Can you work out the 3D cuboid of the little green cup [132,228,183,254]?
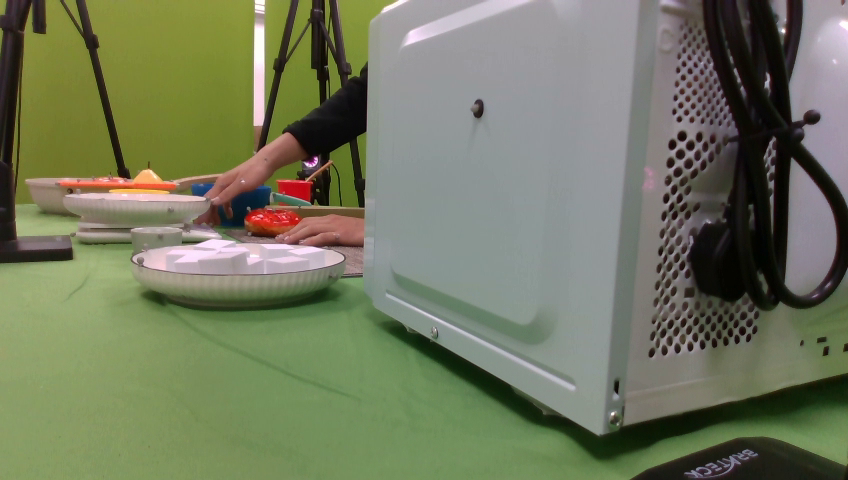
[{"bbox_3d":[-0.342,0.006,0.779,0.061,0.038,0.061,2,8,0],"label":"little green cup"}]

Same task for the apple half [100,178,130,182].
[{"bbox_3d":[-0.638,-0.093,1.266,0.053,0.074,0.081,7,5,10],"label":"apple half"}]

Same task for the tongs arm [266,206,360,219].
[{"bbox_3d":[-0.173,-0.061,1.362,0.387,0.026,0.050,-1,4,-31],"label":"tongs arm"}]

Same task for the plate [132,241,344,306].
[{"bbox_3d":[-0.187,0.033,0.625,0.208,0.039,0.207,2,7,0],"label":"plate"}]

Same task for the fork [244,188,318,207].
[{"bbox_3d":[-0.356,-0.105,1.526,0.208,0.018,0.028,16,-5,-41],"label":"fork"}]

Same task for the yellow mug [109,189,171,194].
[{"bbox_3d":[-0.519,-0.055,1.081,0.099,0.064,0.131,7,10,26],"label":"yellow mug"}]

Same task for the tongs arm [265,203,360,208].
[{"bbox_3d":[-0.210,-0.070,1.439,0.389,0.027,0.028,1,0,-17],"label":"tongs arm"}]

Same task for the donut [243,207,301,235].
[{"bbox_3d":[-0.262,-0.032,1.043,0.099,0.048,0.099,5,9,0],"label":"donut"}]

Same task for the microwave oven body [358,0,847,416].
[{"bbox_3d":[0.211,-0.047,0.474,0.444,0.260,0.324,-1,7,-28],"label":"microwave oven body"}]

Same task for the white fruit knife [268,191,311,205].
[{"bbox_3d":[-0.364,-0.105,1.464,0.208,0.027,0.016,15,0,-34],"label":"white fruit knife"}]

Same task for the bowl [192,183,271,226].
[{"bbox_3d":[-0.382,-0.070,1.202,0.151,0.077,0.151,3,7,0],"label":"bowl"}]

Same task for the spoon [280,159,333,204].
[{"bbox_3d":[-0.317,-0.159,1.640,0.194,0.022,0.041,-49,32,-20],"label":"spoon"}]

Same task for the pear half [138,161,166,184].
[{"bbox_3d":[-0.602,-0.120,1.354,0.056,0.110,0.076,4,11,5],"label":"pear half"}]

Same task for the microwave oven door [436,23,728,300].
[{"bbox_3d":[0.180,-0.072,0.621,0.358,0.243,0.039,-2,9,-29],"label":"microwave oven door"}]

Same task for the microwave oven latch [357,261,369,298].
[{"bbox_3d":[-0.019,0.033,0.530,0.079,0.029,0.030,-1,7,-26],"label":"microwave oven latch"}]

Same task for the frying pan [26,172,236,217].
[{"bbox_3d":[-0.624,-0.118,1.387,0.305,0.102,0.490,8,17,32],"label":"frying pan"}]

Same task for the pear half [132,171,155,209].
[{"bbox_3d":[-0.636,-0.113,1.362,0.031,0.088,0.070,3,13,1],"label":"pear half"}]

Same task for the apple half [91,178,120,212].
[{"bbox_3d":[-0.677,-0.096,1.271,0.033,0.081,0.081,7,8,10],"label":"apple half"}]

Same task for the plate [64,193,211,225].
[{"bbox_3d":[-0.446,-0.050,0.952,0.209,0.038,0.209,2,7,0],"label":"plate"}]

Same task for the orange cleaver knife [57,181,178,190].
[{"bbox_3d":[-0.600,-0.109,1.189,0.212,0.012,0.077,-1,11,-26],"label":"orange cleaver knife"}]

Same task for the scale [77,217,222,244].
[{"bbox_3d":[-0.434,-0.019,0.963,0.202,0.031,0.148,-1,9,-26],"label":"scale"}]
